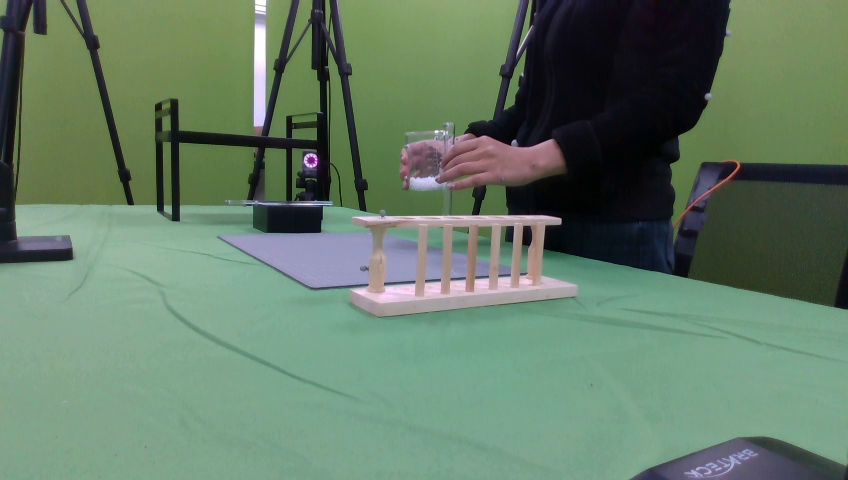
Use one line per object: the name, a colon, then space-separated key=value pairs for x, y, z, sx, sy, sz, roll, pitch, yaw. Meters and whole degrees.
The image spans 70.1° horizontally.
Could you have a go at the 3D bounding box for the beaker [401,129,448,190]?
beaker: x=0.006 y=-0.138 z=1.043 sx=0.083 sy=0.100 sz=0.074 roll=7 pitch=16 yaw=42

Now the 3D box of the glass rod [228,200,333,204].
glass rod: x=-0.268 y=-0.071 z=1.143 sx=0.201 sy=0.008 sz=0.008 roll=-1 pitch=8 yaw=-29

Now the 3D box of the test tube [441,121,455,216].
test tube: x=0.038 y=-0.110 z=0.951 sx=0.017 sy=0.150 sz=0.017 roll=2 pitch=5 yaw=0

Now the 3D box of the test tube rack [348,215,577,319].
test tube rack: x=0.048 y=0.021 z=0.619 sx=0.244 sy=0.085 sz=0.066 roll=-2 pitch=8 yaw=-31
